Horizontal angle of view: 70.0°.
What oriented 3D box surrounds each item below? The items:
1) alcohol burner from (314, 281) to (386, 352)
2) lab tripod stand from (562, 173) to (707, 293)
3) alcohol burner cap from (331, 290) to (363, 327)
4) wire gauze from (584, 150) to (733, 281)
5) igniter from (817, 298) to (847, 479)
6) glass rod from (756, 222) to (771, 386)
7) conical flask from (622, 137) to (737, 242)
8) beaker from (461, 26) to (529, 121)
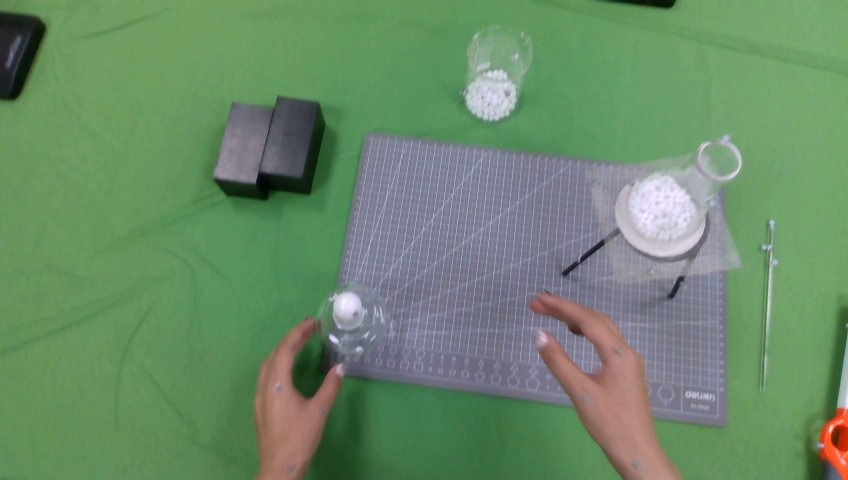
[{"bbox_3d":[-0.079,0.077,0.637,0.078,0.119,0.077,1,74,-2],"label":"alcohol burner"},{"bbox_3d":[0.230,-0.003,0.656,0.148,0.132,0.147,0,74,0],"label":"lab tripod stand"},{"bbox_3d":[-0.078,0.065,0.603,0.034,0.048,0.033,2,71,-5],"label":"alcohol burner cap"},{"bbox_3d":[0.230,-0.025,0.594,0.125,0.011,0.121,-8,76,-5],"label":"wire gauze"},{"bbox_3d":[0.458,0.192,0.656,0.057,0.025,0.275,22,73,-5],"label":"igniter"},{"bbox_3d":[0.394,0.070,0.703,0.008,0.008,0.198,12,72,3],"label":"glass rod"},{"bbox_3d":[0.231,-0.048,0.539,0.075,0.122,0.075,0,74,0],"label":"conical flask"},{"bbox_3d":[0.084,-0.199,0.737,0.084,0.101,0.073,-32,75,-10],"label":"beaker"}]
